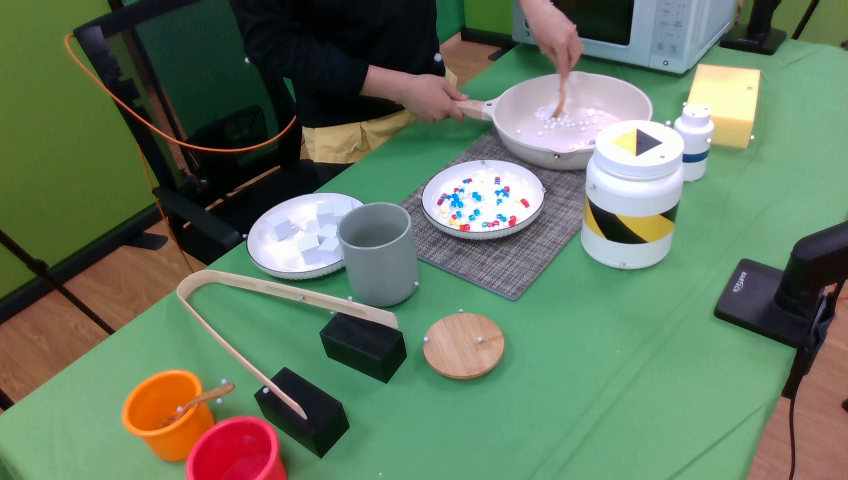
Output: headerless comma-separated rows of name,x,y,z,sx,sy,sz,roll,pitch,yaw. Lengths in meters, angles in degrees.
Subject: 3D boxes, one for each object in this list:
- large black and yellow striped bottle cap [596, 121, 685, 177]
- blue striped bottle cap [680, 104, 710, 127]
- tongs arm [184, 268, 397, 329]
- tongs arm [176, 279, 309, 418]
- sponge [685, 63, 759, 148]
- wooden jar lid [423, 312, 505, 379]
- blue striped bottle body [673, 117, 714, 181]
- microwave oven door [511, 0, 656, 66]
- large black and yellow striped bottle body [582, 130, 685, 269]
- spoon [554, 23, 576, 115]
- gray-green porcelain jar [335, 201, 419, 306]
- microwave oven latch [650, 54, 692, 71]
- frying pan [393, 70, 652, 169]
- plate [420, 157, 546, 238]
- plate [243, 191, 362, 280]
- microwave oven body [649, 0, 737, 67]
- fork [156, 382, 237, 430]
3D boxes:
large black and yellow striped bottle cap,0.293,-0.126,0.821,0.115,0.019,0.114,-5,40,4
blue striped bottle cap,0.443,-0.205,0.989,0.044,0.021,0.044,-1,41,2
tongs arm,-0.202,0.084,0.848,0.382,0.027,0.051,11,44,35
tongs arm,-0.255,0.132,0.801,0.028,0.028,0.384,-41,40,-23
sponge,0.569,-0.263,1.164,0.117,0.061,0.207,12,45,22
wooden jar lid,0.053,0.142,0.800,0.108,0.021,0.108,-5,39,4
blue striped bottle body,0.449,-0.165,1.022,0.063,0.121,0.063,-5,41,4
microwave oven door,0.351,-0.540,1.349,0.353,0.245,0.039,24,50,31
large black and yellow striped bottle body,0.301,-0.063,0.877,0.131,0.185,0.130,-4,41,4
spoon,0.285,-0.346,1.222,0.021,0.193,0.042,8,-2,11
gray-green porcelain jar,-0.064,0.024,0.872,0.106,0.127,0.105,-4,41,4
microwave oven latch,0.531,-0.386,1.301,0.078,0.029,0.030,25,50,32
frying pan,0.176,-0.248,1.165,0.487,0.103,0.306,12,43,9
plate,0.099,-0.067,1.017,0.209,0.038,0.208,-4,40,4
plate,-0.188,-0.005,0.992,0.207,0.039,0.206,-4,40,4
microwave oven body,0.475,-0.602,1.411,0.438,0.261,0.327,23,50,32
fork,-0.262,0.189,0.690,0.018,0.206,0.028,49,43,-7
